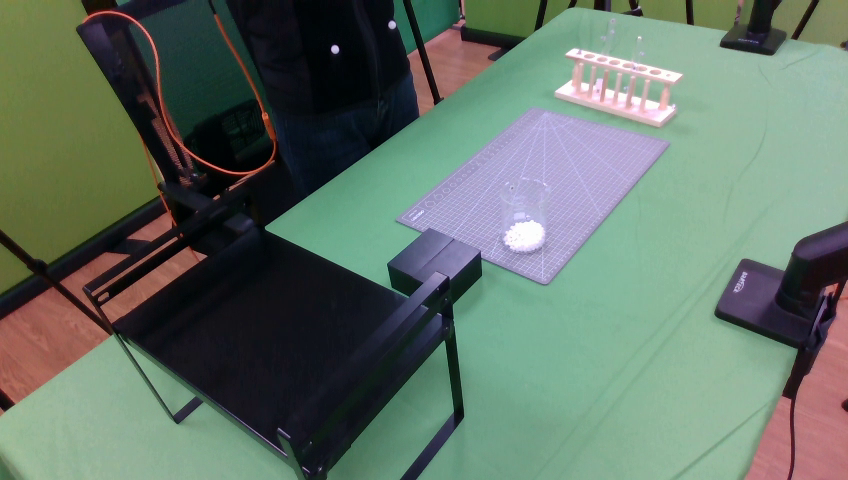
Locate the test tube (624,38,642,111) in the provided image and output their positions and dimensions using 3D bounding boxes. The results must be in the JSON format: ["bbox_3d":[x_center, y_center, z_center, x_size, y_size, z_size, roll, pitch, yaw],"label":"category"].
[{"bbox_3d":[0.404,-0.318,1.171,0.017,0.151,0.017,-4,42,4],"label":"test tube"}]

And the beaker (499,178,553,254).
[{"bbox_3d":[0.157,-0.036,0.929,0.084,0.100,0.073,-16,41,-12],"label":"beaker"}]

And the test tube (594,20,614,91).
[{"bbox_3d":[0.367,-0.372,1.233,0.017,0.151,0.017,-1,43,1],"label":"test tube"}]

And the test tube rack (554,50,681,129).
[{"bbox_3d":[0.387,-0.311,1.234,0.240,0.085,0.067,28,52,35],"label":"test tube rack"}]
